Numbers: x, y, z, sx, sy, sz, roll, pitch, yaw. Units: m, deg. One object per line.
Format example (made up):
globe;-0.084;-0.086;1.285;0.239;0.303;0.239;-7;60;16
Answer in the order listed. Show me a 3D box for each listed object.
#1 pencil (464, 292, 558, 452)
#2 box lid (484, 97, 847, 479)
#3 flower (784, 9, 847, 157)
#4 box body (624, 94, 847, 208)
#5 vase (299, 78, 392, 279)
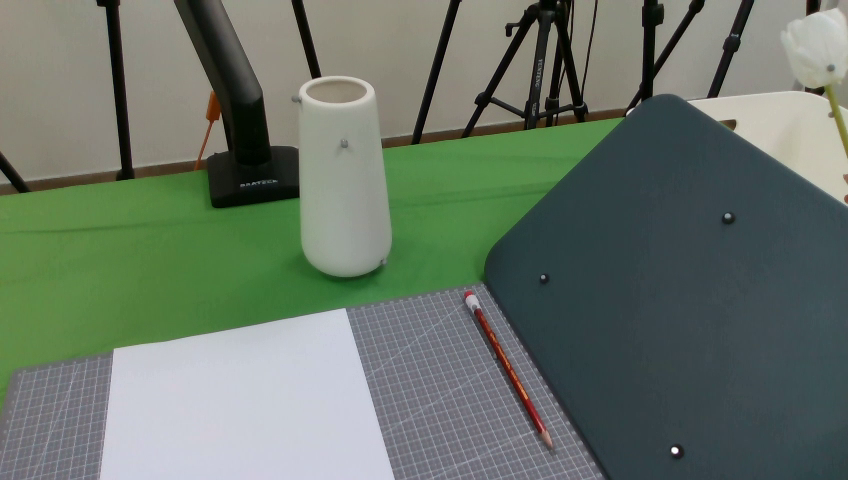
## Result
pencil;0.075;0.112;0.553;0.012;0.012;0.192;-10;40;-16
box lid;0.207;0.046;0.501;0.015;0.263;0.367;33;18;-38
flower;0.364;-0.009;0.487;0.044;0.361;0.038;-17;-2;22
box body;0.374;0.012;0.584;0.255;0.162;0.360;-9;38;-15
vase;-0.083;-0.058;0.617;0.098;0.201;0.097;1;36;0
